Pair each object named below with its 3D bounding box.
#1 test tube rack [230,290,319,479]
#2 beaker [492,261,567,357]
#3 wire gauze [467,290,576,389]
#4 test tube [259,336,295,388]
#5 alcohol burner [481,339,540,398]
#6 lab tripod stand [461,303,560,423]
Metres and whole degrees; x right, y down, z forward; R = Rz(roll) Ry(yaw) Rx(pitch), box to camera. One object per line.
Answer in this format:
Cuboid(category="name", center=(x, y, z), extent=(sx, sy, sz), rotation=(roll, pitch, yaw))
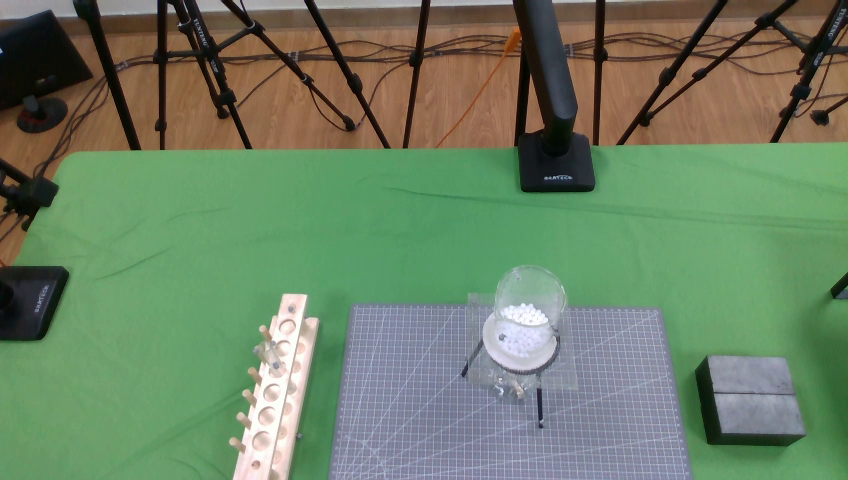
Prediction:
Cuboid(category="test tube rack", center=(-0.198, 0.190, 0.787), extent=(0.067, 0.086, 0.240), rotation=(3, 58, 5))
Cuboid(category="beaker", center=(0.111, 0.083, 0.672), extent=(0.084, 0.101, 0.073), rotation=(-28, 60, -15))
Cuboid(category="wire gauze", center=(0.112, 0.113, 0.710), extent=(0.125, 0.011, 0.120), rotation=(3, 58, 2))
Cuboid(category="test tube", center=(-0.180, 0.154, 0.750), extent=(0.017, 0.151, 0.017), rotation=(0, 59, 0))
Cuboid(category="alcohol burner", center=(0.113, 0.157, 0.773), extent=(0.078, 0.120, 0.077), rotation=(0, 57, 1))
Cuboid(category="lab tripod stand", center=(0.119, 0.145, 0.768), extent=(0.148, 0.132, 0.147), rotation=(-2, 55, 3))
